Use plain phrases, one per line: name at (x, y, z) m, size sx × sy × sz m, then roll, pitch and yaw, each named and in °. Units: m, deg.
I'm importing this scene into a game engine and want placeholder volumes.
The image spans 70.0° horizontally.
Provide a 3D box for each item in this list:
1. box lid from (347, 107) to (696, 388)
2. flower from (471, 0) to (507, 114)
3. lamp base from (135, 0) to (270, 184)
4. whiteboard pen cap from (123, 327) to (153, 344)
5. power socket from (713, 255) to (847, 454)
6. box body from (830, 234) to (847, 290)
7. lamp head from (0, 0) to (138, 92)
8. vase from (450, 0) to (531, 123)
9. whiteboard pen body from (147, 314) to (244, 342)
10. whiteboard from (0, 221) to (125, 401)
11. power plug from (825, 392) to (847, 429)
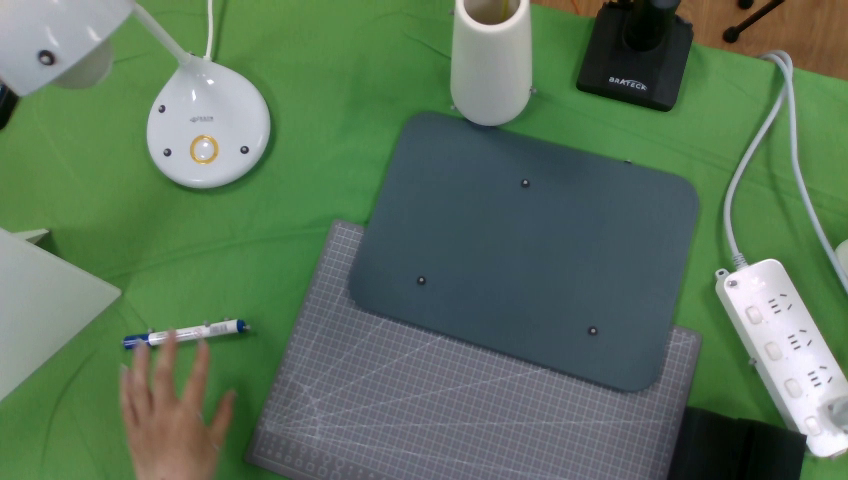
box lid at (0.116, 0.000, 0.718) m, size 0.371 × 0.015 × 0.262 m, roll 17°, pitch 80°, yaw 8°
flower at (0.079, -0.239, 0.591) m, size 0.038 × 0.364 × 0.043 m, roll -27°, pitch 70°, yaw -18°
lamp base at (-0.286, -0.177, 0.701) m, size 0.160 × 0.181 × 0.178 m, roll -13°, pitch 74°, yaw 2°
whiteboard pen cap at (-0.342, 0.114, 0.727) m, size 0.033 × 0.018 × 0.018 m, roll -10°, pitch 77°, yaw 6°
power socket at (0.395, 0.121, 0.658) m, size 0.072 × 0.033 × 0.225 m, roll -22°, pitch 77°, yaw -1°
box body at (0.620, 0.091, 0.579) m, size 0.254 × 0.161 × 0.362 m, roll -27°, pitch 77°, yaw -1°
lamp head at (-0.284, -0.186, 0.421) m, size 0.112 × 0.124 × 0.111 m, roll -23°, pitch 35°, yaw 18°
vase at (0.076, -0.208, 0.670) m, size 0.098 × 0.201 × 0.097 m, roll -1°, pitch 77°, yaw 4°
whiteboard pen body at (-0.284, 0.107, 0.724) m, size 0.141 × 0.017 × 0.017 m, roll -10°, pitch 77°, yaw 4°
whiteboard at (-0.533, 0.026, 0.646) m, size 0.217 × 0.308 × 0.142 m, roll -41°, pitch 58°, yaw -4°
power plug at (0.449, 0.170, 0.620) m, size 0.072 × 0.053 × 0.035 m, roll -12°, pitch 76°, yaw -2°
